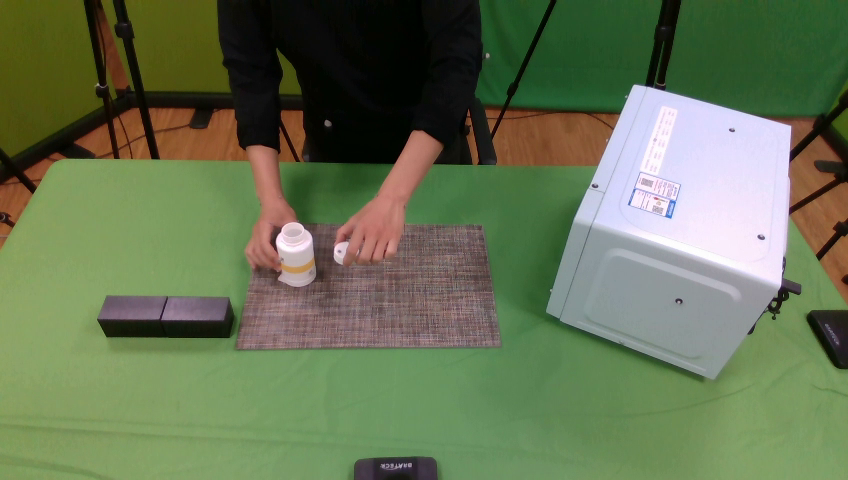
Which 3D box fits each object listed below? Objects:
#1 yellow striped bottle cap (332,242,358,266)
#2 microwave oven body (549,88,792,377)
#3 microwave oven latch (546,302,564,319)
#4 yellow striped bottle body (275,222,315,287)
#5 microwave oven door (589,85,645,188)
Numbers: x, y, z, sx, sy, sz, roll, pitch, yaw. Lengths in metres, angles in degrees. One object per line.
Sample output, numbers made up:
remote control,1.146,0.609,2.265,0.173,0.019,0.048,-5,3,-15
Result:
yellow striped bottle cap,-0.137,0.023,1.050,0.044,0.019,0.044,7,42,-6
microwave oven body,0.455,-0.028,1.088,0.325,0.261,0.440,20,47,16
microwave oven latch,0.242,0.102,1.081,0.030,0.029,0.079,22,48,17
yellow striped bottle body,-0.230,0.023,1.082,0.063,0.121,0.062,2,46,-2
microwave oven door,0.341,-0.107,1.148,0.039,0.245,0.354,20,48,15
